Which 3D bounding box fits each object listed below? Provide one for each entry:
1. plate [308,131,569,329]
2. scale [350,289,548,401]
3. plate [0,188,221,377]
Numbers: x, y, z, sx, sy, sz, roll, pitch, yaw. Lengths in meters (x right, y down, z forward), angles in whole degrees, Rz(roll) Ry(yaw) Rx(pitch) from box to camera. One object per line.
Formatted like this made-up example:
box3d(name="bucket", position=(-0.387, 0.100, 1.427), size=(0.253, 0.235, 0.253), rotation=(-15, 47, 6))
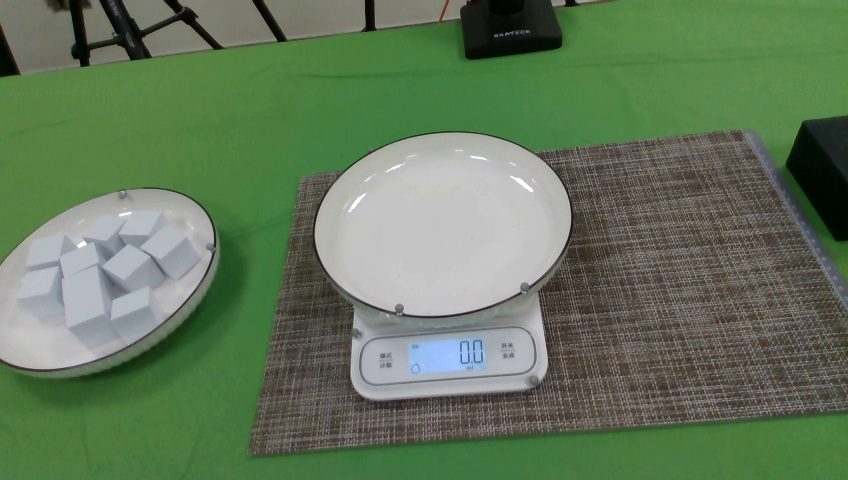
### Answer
box3d(name="plate", position=(0.012, -0.010, 0.495), size=(0.207, 0.039, 0.205), rotation=(-4, 48, 4))
box3d(name="scale", position=(0.017, 0.033, 0.500), size=(0.148, 0.032, 0.199), rotation=(-5, 48, 5))
box3d(name="plate", position=(-0.283, 0.035, 0.546), size=(0.209, 0.038, 0.207), rotation=(-4, 47, 5))
